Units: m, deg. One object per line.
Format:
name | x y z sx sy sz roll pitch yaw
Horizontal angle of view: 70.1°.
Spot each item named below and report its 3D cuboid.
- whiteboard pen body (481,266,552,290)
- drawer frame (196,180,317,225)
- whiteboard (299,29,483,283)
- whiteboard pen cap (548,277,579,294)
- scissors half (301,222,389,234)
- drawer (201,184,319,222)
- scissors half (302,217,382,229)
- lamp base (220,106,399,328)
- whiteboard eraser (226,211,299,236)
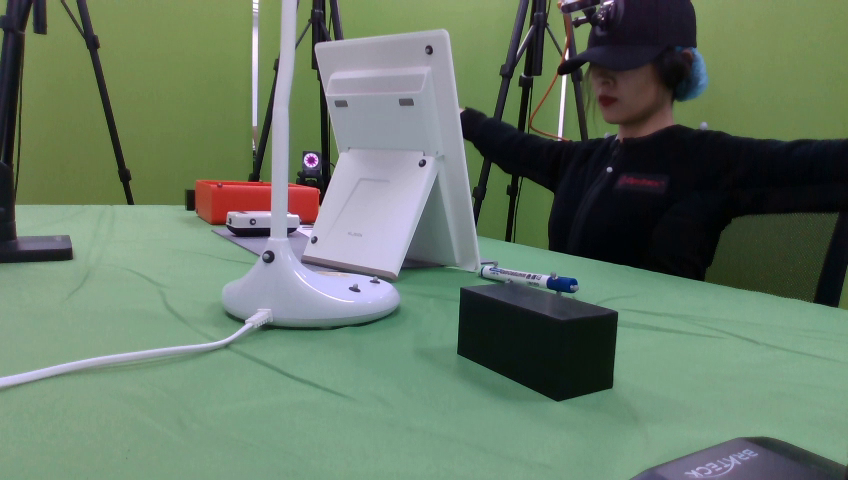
whiteboard pen body | 0.115 0.044 0.695 0.017 0.017 0.140 -3 6 -35
drawer frame | -0.359 -0.083 1.292 0.215 0.082 0.200 -2 10 -30
whiteboard | -0.074 -0.082 0.742 0.216 0.305 0.144 9 29 38
whiteboard pen cap | 0.148 0.049 0.647 0.018 0.018 0.033 -3 3 -36
scissors half | -0.152 -0.023 1.182 0.176 0.013 0.040 1 24 -21
drawer | -0.353 -0.082 1.296 0.213 0.073 0.193 -2 10 -28
scissors half | -0.161 -0.031 1.199 0.176 0.013 0.040 -8 23 -39
lamp base | -0.101 -0.023 0.531 0.160 0.180 0.179 4 10 10
whiteboard eraser | -0.276 -0.029 1.035 0.113 0.042 0.055 -3 7 -35
